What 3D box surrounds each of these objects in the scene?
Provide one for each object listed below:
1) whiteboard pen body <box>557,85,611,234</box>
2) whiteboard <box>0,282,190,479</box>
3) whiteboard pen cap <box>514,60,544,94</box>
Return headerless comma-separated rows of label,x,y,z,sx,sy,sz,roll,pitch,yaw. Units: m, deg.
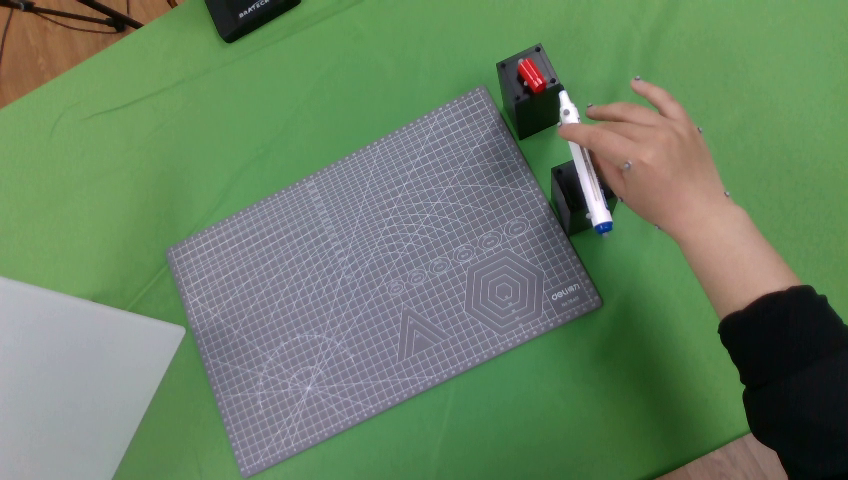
whiteboard pen body,0.134,-0.072,0.519,0.017,0.017,0.139,-15,74,8
whiteboard,-0.457,0.140,0.647,0.142,0.308,0.217,21,83,35
whiteboard pen cap,0.106,-0.164,0.610,0.017,0.017,0.032,-32,75,3
